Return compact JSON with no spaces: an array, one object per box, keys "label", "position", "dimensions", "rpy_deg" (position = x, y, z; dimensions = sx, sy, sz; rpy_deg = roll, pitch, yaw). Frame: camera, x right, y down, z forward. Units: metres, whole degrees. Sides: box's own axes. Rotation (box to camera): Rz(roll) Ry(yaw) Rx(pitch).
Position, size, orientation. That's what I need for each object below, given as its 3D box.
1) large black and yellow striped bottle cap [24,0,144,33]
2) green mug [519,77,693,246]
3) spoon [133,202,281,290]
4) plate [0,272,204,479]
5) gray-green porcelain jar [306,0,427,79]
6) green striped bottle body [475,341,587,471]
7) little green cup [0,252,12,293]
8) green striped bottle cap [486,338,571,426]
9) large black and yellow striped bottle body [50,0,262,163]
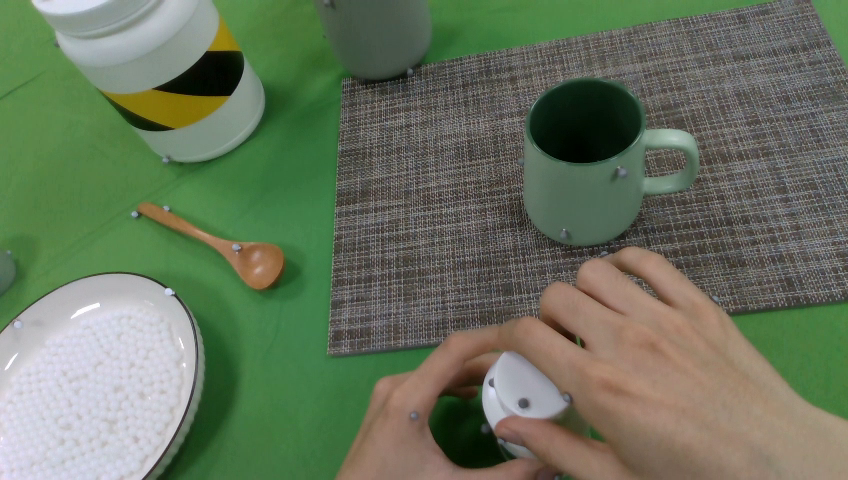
[{"label":"large black and yellow striped bottle cap","position":[-0.264,-0.213,0.487],"dimensions":[0.115,0.019,0.114],"rpy_deg":[-5,59,9]},{"label":"green mug","position":[0.132,-0.056,0.449],"dimensions":[0.125,0.106,0.092],"rpy_deg":[0,60,13]},{"label":"spoon","position":[-0.200,-0.003,0.546],"dimensions":[0.192,0.022,0.041],"rpy_deg":[23,88,23]},{"label":"plate","position":[-0.268,0.125,0.479],"dimensions":[0.209,0.038,0.207],"rpy_deg":[-5,59,9]},{"label":"gray-green porcelain jar","position":[-0.056,-0.228,0.579],"dimensions":[0.106,0.128,0.105],"rpy_deg":[-6,56,9]},{"label":"green striped bottle body","position":[0.067,0.101,0.369],"dimensions":[0.063,0.120,0.062],"rpy_deg":[-6,61,11]},{"label":"little green cup","position":[-0.424,0.030,0.568],"dimensions":[0.061,0.039,0.061],"rpy_deg":[-5,60,9]},{"label":"green striped bottle cap","position":[0.055,0.074,0.321],"dimensions":[0.044,0.020,0.044],"rpy_deg":[-3,56,5]},{"label":"large black and yellow striped bottle body","position":[-0.247,-0.173,0.559],"dimensions":[0.130,0.186,0.129],"rpy_deg":[-5,60,10]}]
